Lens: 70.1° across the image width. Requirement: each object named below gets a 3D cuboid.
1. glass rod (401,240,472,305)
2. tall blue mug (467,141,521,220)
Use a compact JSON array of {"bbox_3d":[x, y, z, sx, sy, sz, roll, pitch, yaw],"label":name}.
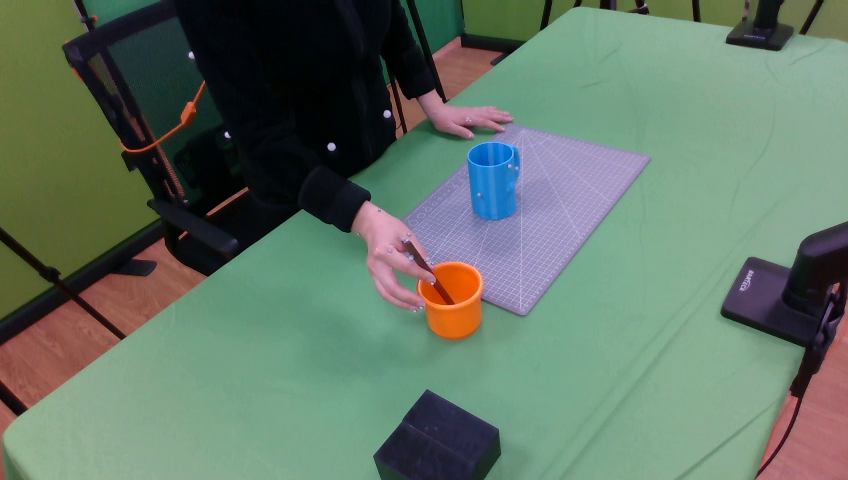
[{"bbox_3d":[0.021,0.048,0.801,0.008,0.201,0.008,-15,56,24],"label":"glass rod"},{"bbox_3d":[0.119,-0.109,1.020,0.077,0.108,0.107,3,42,15],"label":"tall blue mug"}]
